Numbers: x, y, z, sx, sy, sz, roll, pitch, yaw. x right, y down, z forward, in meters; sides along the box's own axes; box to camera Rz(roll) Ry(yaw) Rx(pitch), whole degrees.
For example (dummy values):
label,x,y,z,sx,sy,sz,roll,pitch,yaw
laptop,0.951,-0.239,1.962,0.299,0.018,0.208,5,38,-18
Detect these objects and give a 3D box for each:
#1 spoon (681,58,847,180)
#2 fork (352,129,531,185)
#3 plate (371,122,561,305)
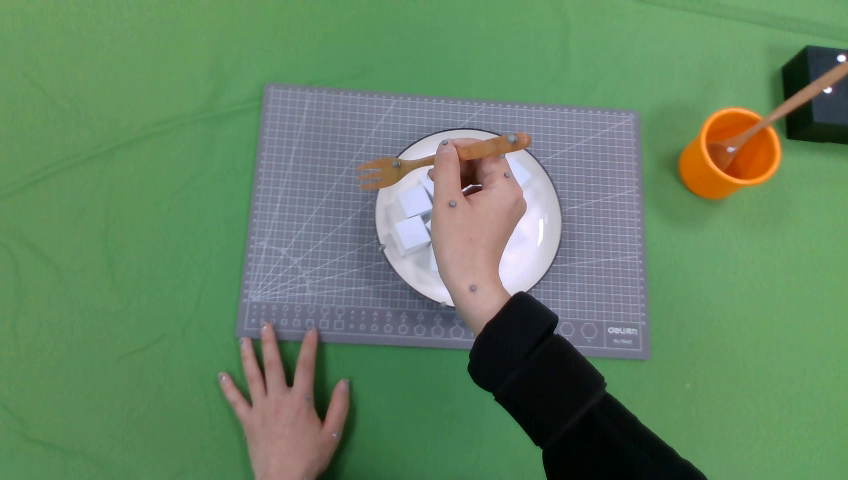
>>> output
label,x,y,z,sx,sy,sz,roll,pitch,yaw
spoon,0.373,-0.130,0.667,0.022,0.194,0.041,-8,65,-51
fork,0.004,-0.068,0.498,0.019,0.206,0.028,-6,92,-39
plate,0.045,-0.029,0.673,0.208,0.039,0.206,1,77,-4
